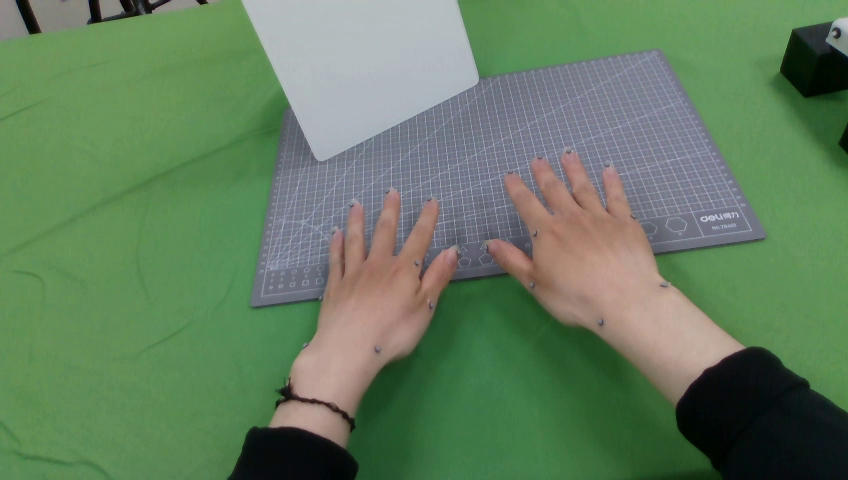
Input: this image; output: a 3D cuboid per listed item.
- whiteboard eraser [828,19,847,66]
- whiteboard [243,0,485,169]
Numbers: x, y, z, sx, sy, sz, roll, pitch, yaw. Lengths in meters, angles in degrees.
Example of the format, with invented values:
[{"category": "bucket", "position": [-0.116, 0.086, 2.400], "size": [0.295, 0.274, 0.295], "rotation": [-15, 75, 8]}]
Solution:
[{"category": "whiteboard eraser", "position": [0.419, -0.163, 0.537], "size": [0.055, 0.042, 0.111], "rotation": [-17, 44, 5]}, {"category": "whiteboard", "position": [-0.096, -0.275, 0.666], "size": [0.217, 0.308, 0.142], "rotation": [-29, 29, -14]}]
